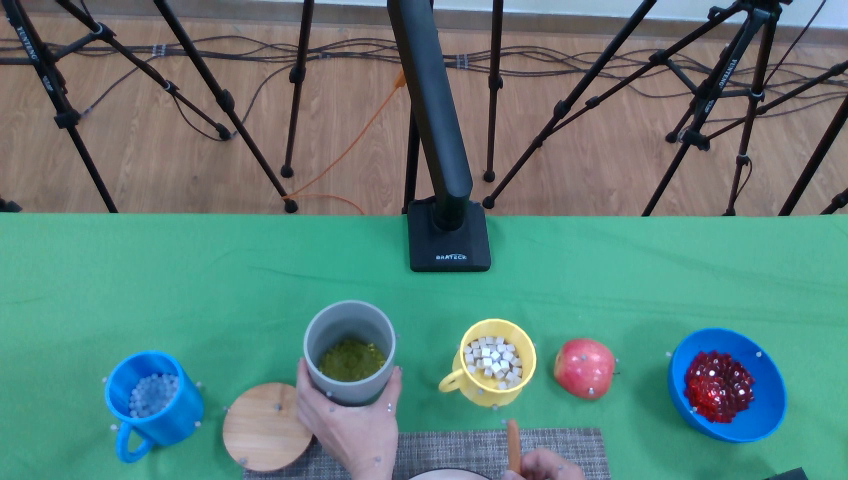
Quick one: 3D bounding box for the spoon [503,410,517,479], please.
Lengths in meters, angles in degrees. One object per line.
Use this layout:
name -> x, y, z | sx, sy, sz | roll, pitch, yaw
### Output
spoon -> 0.097, 0.278, 0.657 | 0.041, 0.194, 0.021 | 0, 12, 20

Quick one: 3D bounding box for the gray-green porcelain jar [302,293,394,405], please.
gray-green porcelain jar -> -0.092, 0.139, 0.743 | 0.106, 0.127, 0.105 | 3, 59, -5

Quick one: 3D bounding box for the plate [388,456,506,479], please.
plate -> 0.026, 0.353, 0.682 | 0.208, 0.039, 0.206 | 3, 60, -5

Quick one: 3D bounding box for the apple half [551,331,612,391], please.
apple half -> 0.215, 0.157, 0.815 | 0.074, 0.054, 0.080 | 19, 60, 7

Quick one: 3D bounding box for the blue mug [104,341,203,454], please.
blue mug -> -0.317, 0.188, 0.698 | 0.082, 0.106, 0.116 | 18, 60, 4

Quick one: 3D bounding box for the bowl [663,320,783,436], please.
bowl -> 0.379, 0.190, 0.801 | 0.151, 0.077, 0.150 | 3, 60, -5

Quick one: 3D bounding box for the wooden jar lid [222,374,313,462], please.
wooden jar lid -> -0.191, 0.219, 0.743 | 0.108, 0.021, 0.107 | 3, 56, -5

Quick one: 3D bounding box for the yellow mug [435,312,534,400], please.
yellow mug -> 0.074, 0.158, 0.789 | 0.131, 0.064, 0.099 | -21, 65, -17
